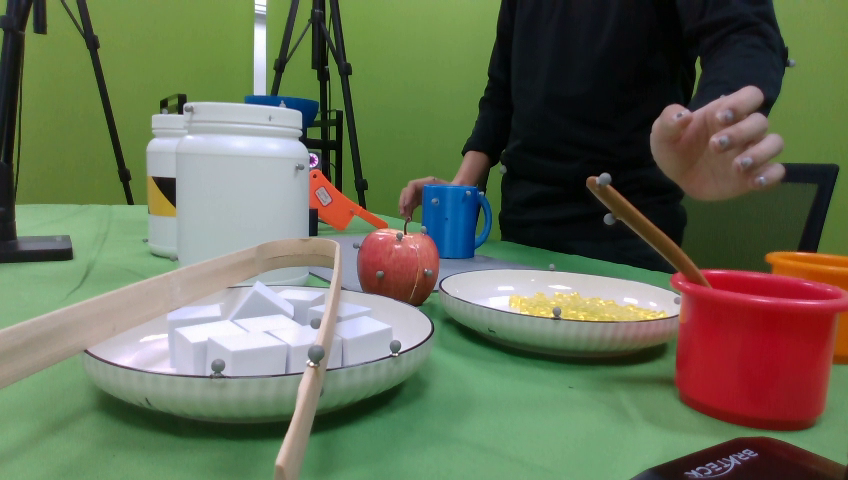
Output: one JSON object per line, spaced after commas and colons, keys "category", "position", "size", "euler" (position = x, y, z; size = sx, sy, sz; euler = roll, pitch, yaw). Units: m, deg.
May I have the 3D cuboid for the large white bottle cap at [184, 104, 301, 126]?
{"category": "large white bottle cap", "position": [-0.184, -0.126, 0.618], "size": [0.115, 0.018, 0.115], "euler": [2, 8, 0]}

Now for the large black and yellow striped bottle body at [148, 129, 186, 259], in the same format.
{"category": "large black and yellow striped bottle body", "position": [-0.310, -0.073, 0.838], "size": [0.131, 0.184, 0.130], "euler": [2, 8, 0]}

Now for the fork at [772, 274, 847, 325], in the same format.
{"category": "fork", "position": [0.332, 0.018, 0.442], "size": [0.028, 0.018, 0.207], "euler": [-1, -36, -15]}

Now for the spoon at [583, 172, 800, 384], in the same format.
{"category": "spoon", "position": [0.159, 0.026, 0.358], "size": [0.194, 0.021, 0.041], "euler": [46, -3, -14]}

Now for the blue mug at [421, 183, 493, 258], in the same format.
{"category": "blue mug", "position": [0.052, -0.032, 0.912], "size": [0.117, 0.106, 0.082], "euler": [-1, 8, -24]}

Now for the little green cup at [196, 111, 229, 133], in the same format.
{"category": "little green cup", "position": [-0.403, -0.225, 1.154], "size": [0.061, 0.038, 0.061], "euler": [3, 8, 0]}

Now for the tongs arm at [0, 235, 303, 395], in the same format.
{"category": "tongs arm", "position": [-0.157, 0.038, 0.351], "size": [0.028, 0.028, 0.388], "euler": [-3, 9, 12]}

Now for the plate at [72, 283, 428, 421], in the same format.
{"category": "plate", "position": [-0.102, 0.066, 0.381], "size": [0.208, 0.039, 0.207], "euler": [2, 7, 0]}

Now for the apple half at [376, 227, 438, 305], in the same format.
{"category": "apple half", "position": [-0.017, 0.026, 0.593], "size": [0.080, 0.074, 0.053], "euler": [4, 2, 43]}

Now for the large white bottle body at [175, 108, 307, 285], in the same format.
{"category": "large white bottle body", "position": [-0.188, -0.042, 0.630], "size": [0.131, 0.184, 0.130], "euler": [2, 8, 0]}

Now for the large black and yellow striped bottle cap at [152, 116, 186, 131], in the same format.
{"category": "large black and yellow striped bottle cap", "position": [-0.309, -0.156, 0.826], "size": [0.115, 0.019, 0.115], "euler": [3, 6, 0]}

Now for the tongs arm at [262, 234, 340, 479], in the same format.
{"category": "tongs arm", "position": [-0.074, 0.039, 0.349], "size": [0.051, 0.026, 0.384], "euler": [-2, 10, -3]}

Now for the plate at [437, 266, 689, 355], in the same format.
{"category": "plate", "position": [0.114, 0.057, 0.517], "size": [0.209, 0.038, 0.209], "euler": [3, 7, 0]}

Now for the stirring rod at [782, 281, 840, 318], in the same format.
{"category": "stirring rod", "position": [0.345, 0.019, 0.461], "size": [0.014, 0.006, 0.176], "euler": [-13, -27, -30]}

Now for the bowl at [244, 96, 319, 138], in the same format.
{"category": "bowl", "position": [-0.295, -0.252, 1.254], "size": [0.151, 0.077, 0.151], "euler": [2, 7, 0]}

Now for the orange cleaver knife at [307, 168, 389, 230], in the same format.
{"category": "orange cleaver knife", "position": [-0.158, -0.060, 1.166], "size": [0.212, 0.077, 0.012], "euler": [34, -12, -32]}

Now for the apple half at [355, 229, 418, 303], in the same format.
{"category": "apple half", "position": [-0.044, 0.027, 0.564], "size": [0.081, 0.081, 0.033], "euler": [9, 5, 42]}
